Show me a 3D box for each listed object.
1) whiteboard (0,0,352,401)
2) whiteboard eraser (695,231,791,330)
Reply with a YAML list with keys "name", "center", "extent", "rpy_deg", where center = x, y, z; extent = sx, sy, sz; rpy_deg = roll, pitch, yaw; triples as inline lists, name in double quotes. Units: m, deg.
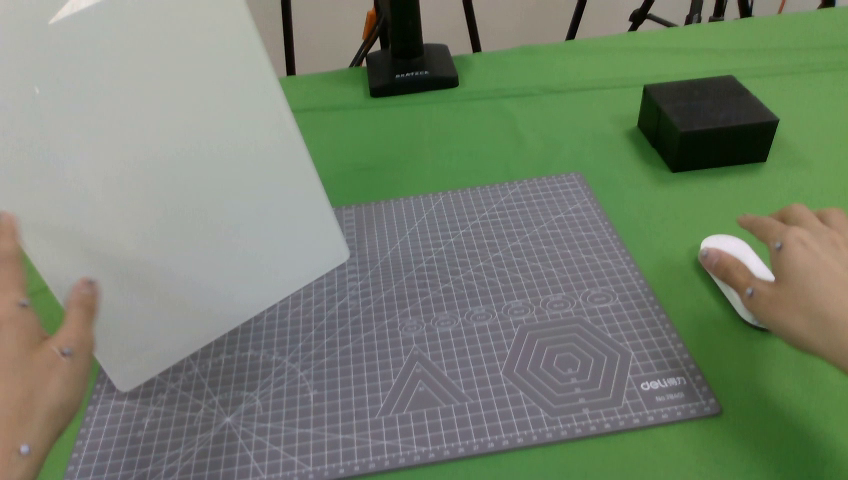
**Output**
- name: "whiteboard"
  center: [-0.231, -0.072, 0.494]
  extent: [0.217, 0.308, 0.142]
  rpy_deg: [-33, 28, -26]
- name: "whiteboard eraser"
  center: [0.258, 0.029, 0.495]
  extent: [0.041, 0.019, 0.100]
  rpy_deg: [-8, 42, -4]
